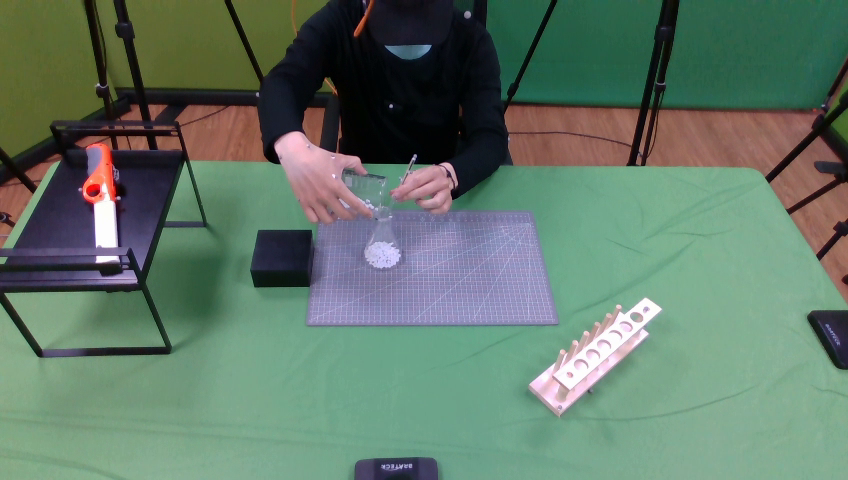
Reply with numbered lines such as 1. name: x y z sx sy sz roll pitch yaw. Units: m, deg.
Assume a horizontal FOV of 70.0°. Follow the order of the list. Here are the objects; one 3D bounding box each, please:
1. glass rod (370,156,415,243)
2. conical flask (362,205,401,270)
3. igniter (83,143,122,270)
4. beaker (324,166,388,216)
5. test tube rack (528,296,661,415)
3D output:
1. glass rod: -0.057 -0.068 1.081 0.008 0.200 0.008 20 34 -14
2. conical flask: -0.078 -0.008 1.127 0.075 0.122 0.075 2 46 -2
3. igniter: -0.508 -0.063 0.962 0.057 0.025 0.274 -14 53 -18
4. beaker: -0.119 -0.084 1.062 0.100 0.084 0.073 11 44 2
5. test tube rack: 0.285 0.178 1.005 0.242 0.085 0.066 -31 56 -29
